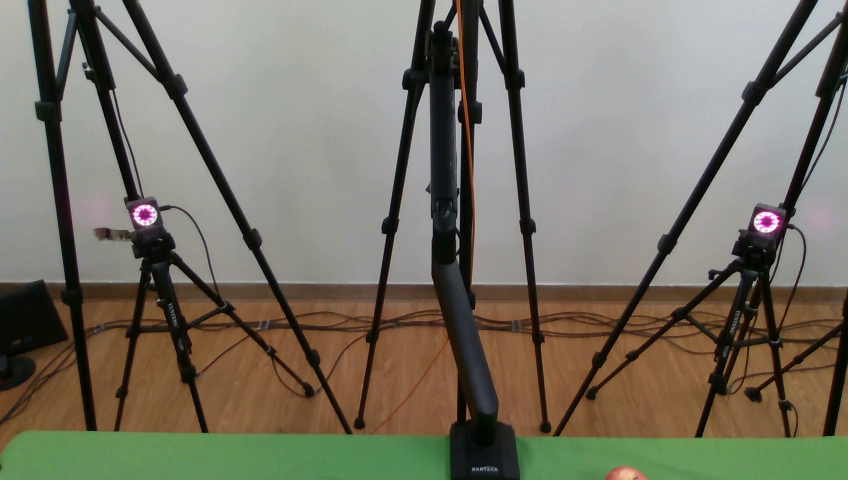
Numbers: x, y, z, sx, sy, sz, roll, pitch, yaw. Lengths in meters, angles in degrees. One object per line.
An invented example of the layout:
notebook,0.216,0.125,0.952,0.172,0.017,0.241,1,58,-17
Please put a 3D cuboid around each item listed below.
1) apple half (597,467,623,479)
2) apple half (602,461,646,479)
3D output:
apple half,0.301,0.412,0.974,0.033,0.082,0.080,-16,37,-29
apple half,0.334,0.402,0.993,0.053,0.075,0.080,-14,32,-29
